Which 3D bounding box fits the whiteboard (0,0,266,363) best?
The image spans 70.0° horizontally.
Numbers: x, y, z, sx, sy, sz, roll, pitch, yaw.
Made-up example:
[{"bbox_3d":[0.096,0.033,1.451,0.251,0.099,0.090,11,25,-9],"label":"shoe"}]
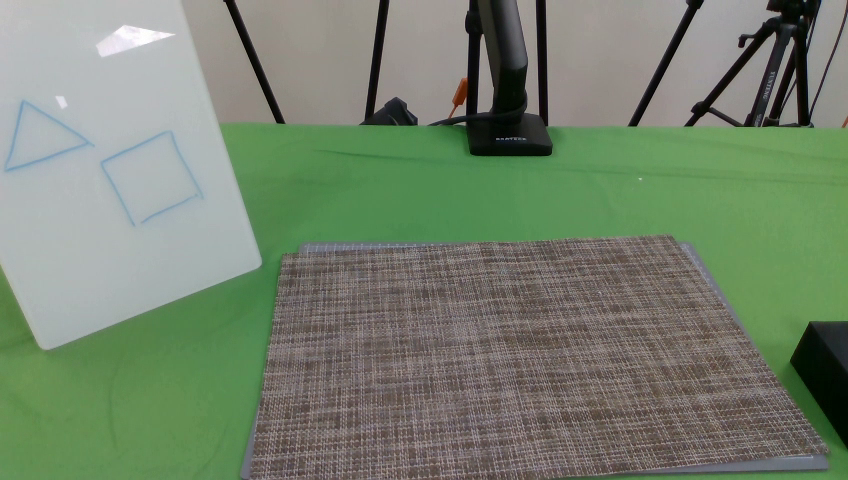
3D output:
[{"bbox_3d":[-0.323,-0.077,0.603,0.217,0.307,0.142,-23,23,-29],"label":"whiteboard"}]
